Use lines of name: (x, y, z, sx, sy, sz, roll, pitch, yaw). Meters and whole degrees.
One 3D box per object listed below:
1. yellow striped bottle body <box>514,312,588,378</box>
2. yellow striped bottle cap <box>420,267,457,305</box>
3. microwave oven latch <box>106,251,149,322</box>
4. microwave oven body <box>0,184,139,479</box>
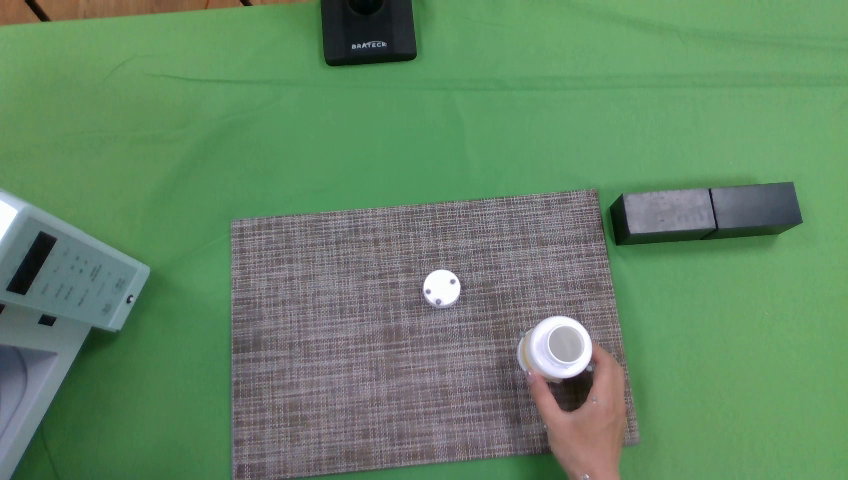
yellow striped bottle body: (0.134, 0.113, 0.642, 0.063, 0.121, 0.062, 0, 75, 0)
yellow striped bottle cap: (0.017, 0.054, 0.710, 0.044, 0.019, 0.044, 0, 76, 1)
microwave oven latch: (-0.341, 0.051, 0.680, 0.030, 0.029, 0.079, 24, 77, 5)
microwave oven body: (-0.545, 0.130, 0.557, 0.325, 0.261, 0.440, 22, 77, 4)
